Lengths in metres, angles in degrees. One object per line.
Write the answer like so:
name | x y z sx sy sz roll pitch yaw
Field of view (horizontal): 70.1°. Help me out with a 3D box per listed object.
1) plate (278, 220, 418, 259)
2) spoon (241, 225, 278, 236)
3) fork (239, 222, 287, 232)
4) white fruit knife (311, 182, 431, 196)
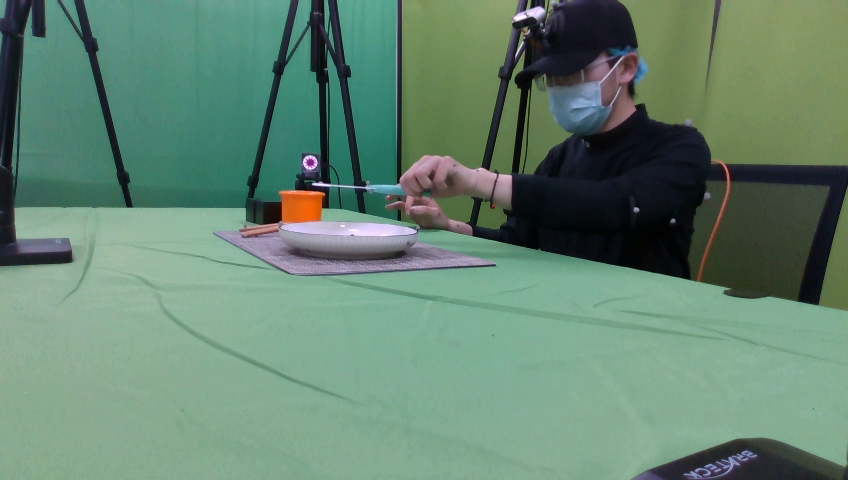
plate | -0.114 -0.002 0.914 0.209 0.038 0.209 2 7 0
spoon | -0.232 -0.021 1.082 0.195 0.021 0.041 -3 27 -37
fork | -0.240 -0.025 1.125 0.208 0.018 0.028 -1 14 -35
white fruit knife | -0.083 -0.085 0.977 0.208 0.016 0.027 2 7 -32
